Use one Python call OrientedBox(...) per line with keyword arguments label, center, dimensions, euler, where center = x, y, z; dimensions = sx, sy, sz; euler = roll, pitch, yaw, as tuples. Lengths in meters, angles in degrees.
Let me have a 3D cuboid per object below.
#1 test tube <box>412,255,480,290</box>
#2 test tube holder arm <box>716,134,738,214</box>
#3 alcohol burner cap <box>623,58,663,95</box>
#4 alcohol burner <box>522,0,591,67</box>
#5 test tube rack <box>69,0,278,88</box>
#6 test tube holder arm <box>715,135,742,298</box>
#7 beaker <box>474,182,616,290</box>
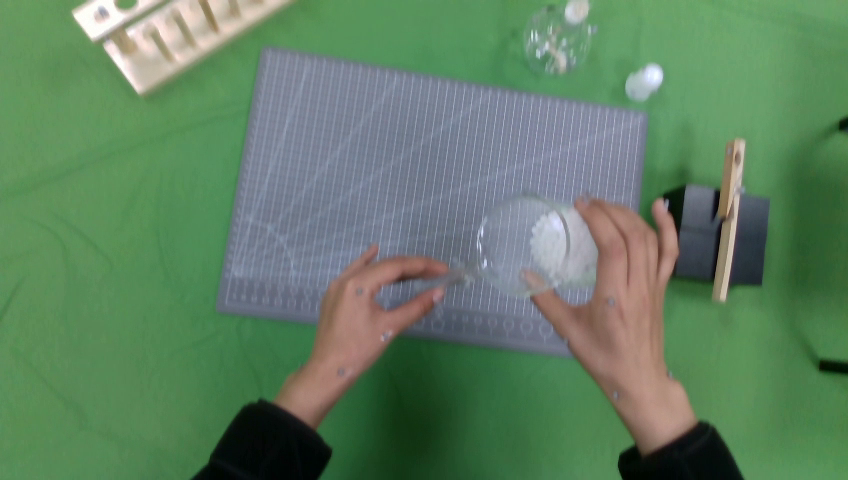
OrientedBox(label="test tube", center=(0.015, 0.030, 0.525), dimensions=(0.017, 0.150, 0.017), euler=(3, 80, -16))
OrientedBox(label="test tube holder arm", center=(0.329, -0.071, 0.659), dimensions=(0.010, 0.015, 0.087), euler=(8, 85, -11))
OrientedBox(label="alcohol burner cap", center=(0.255, -0.190, 0.698), dimensions=(0.034, 0.048, 0.034), euler=(1, 84, -7))
OrientedBox(label="alcohol burner", center=(0.149, -0.234, 0.653), dimensions=(0.078, 0.119, 0.077), euler=(1, 84, -8))
OrientedBox(label="test tube rack", center=(-0.223, -0.264, 0.626), dimensions=(0.242, 0.085, 0.066), euler=(-37, 89, -8))
OrientedBox(label="test tube holder arm", center=(0.330, -0.026, 0.657), dimensions=(0.013, 0.015, 0.178), euler=(7, 86, -11))
OrientedBox(label="beaker", center=(0.095, 0.001, 0.463), dimensions=(0.084, 0.101, 0.073), euler=(-33, 70, 33))
